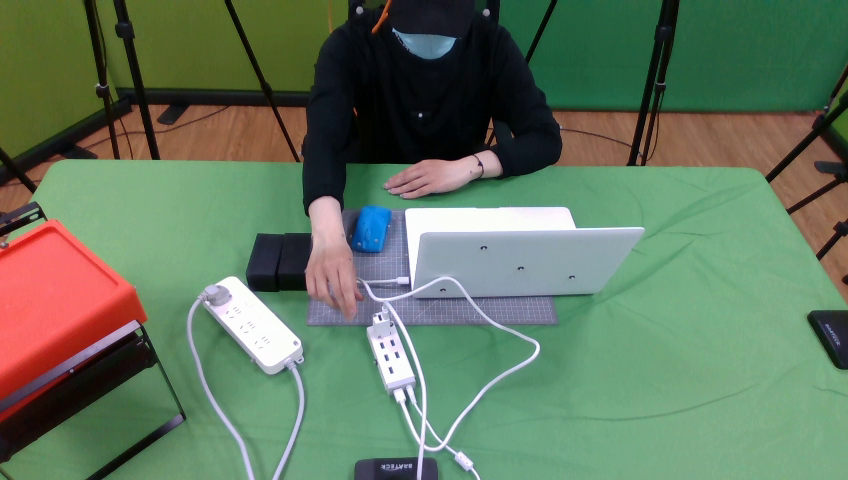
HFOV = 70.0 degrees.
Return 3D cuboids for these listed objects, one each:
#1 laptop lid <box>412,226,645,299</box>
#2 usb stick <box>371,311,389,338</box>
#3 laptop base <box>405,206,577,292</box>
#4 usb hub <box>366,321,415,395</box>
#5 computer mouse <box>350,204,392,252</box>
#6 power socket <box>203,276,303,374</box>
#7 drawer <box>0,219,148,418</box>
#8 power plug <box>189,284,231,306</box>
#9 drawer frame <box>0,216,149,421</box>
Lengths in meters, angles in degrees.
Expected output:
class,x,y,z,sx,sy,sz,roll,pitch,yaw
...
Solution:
class,x,y,z,sx,sy,sz,roll,pitch,yaw
laptop lid,0.161,0.042,1.012,0.357,0.242,0.013,0,59,-7
usb stick,-0.073,0.146,1.012,0.027,0.059,0.021,-14,50,-21
laptop base,0.143,0.018,1.196,0.355,0.023,0.234,-1,43,-6
usb hub,-0.056,0.194,1.007,0.049,0.025,0.124,-12,49,-16
computer mouse,-0.104,-0.027,1.202,0.063,0.041,0.116,11,51,3
power socket,-0.296,0.141,1.034,0.072,0.033,0.225,-35,58,-30
drawer,-0.509,0.093,0.783,0.193,0.073,0.211,32,53,24
power plug,-0.367,0.100,1.037,0.072,0.053,0.035,-24,54,-26
drawer frame,-0.510,0.093,0.780,0.201,0.083,0.213,31,52,23
